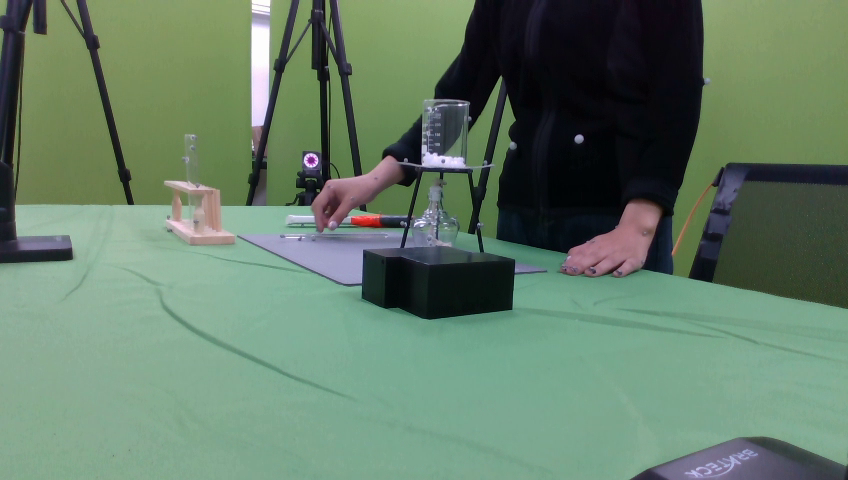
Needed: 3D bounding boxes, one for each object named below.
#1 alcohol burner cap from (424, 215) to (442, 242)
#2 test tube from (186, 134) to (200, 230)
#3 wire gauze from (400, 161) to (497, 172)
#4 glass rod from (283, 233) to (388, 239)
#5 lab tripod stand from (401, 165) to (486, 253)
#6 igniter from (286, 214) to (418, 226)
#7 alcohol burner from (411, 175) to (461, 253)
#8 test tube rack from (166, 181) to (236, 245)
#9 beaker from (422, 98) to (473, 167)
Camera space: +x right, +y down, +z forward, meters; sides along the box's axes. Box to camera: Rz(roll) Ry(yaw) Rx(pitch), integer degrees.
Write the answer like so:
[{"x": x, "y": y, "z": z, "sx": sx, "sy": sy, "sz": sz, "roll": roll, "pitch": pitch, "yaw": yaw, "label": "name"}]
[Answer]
[{"x": 0.017, "y": -0.022, "z": 1.099, "sx": 0.034, "sy": 0.048, "sz": 0.034, "roll": 2, "pitch": 8, "yaw": 0, "label": "alcohol burner cap"}, {"x": -0.360, "y": -0.089, "z": 0.946, "sx": 0.017, "sy": 0.150, "sz": 0.017, "roll": 0, "pitch": 10, "yaw": 0, "label": "test tube"}, {"x": 0.028, "y": -0.114, "z": 0.920, "sx": 0.122, "sy": 0.011, "sz": 0.124, "roll": -5, "pitch": 12, "yaw": -34, "label": "wire gauze"}, {"x": -0.146, "y": -0.006, "z": 1.034, "sx": 0.201, "sy": 0.008, "sz": 0.008, "roll": 1, "pitch": 6, "yaw": -37, "label": "glass rod"}, {"x": 0.028, "y": -0.049, "z": 0.930, "sx": 0.148, "sy": 0.131, "sz": 0.148, "roll": 3, "pitch": 9, "yaw": 0, "label": "lab tripod stand"}, {"x": -0.145, "y": -0.043, "z": 1.263, "sx": 0.278, "sy": 0.025, "sz": 0.057, "roll": -1, "pitch": -2, "yaw": -25, "label": "igniter"}, {"x": 0.018, "y": -0.040, "z": 0.931, "sx": 0.078, "sy": 0.119, "sz": 0.078, "roll": 0, "pitch": 7, "yaw": 0, "label": "alcohol burner"}, {"x": -0.383, "y": -0.051, "z": 1.024, "sx": 0.067, "sy": 0.085, "sz": 0.241, "roll": -2, "pitch": 9, "yaw": -31, "label": "test tube rack"}, {"x": 0.031, "y": -0.162, "z": 0.919, "sx": 0.074, "sy": 0.100, "sz": 0.083, "roll": -4, "pitch": 9, "yaw": -36, "label": "beaker"}]
